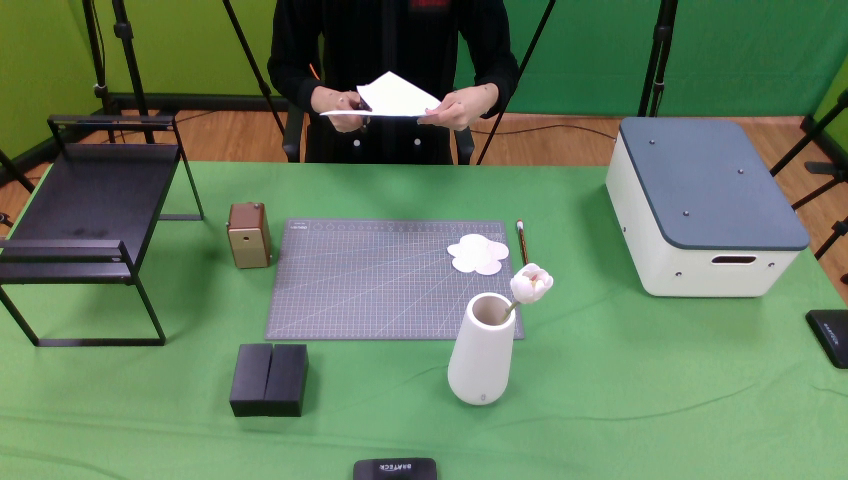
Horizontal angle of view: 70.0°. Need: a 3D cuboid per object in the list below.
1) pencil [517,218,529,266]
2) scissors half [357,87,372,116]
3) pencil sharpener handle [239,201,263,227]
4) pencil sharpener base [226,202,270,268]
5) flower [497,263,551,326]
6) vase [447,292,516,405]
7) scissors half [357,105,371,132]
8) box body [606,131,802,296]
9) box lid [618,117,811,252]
[{"bbox_3d":[0.200,0.028,1.196,0.012,0.012,0.193,1,48,-3],"label":"pencil"},{"bbox_3d":[-0.105,-0.240,1.068,0.013,0.040,0.174,-8,25,-10],"label":"scissors half"},{"bbox_3d":[-0.325,-0.056,1.149,0.036,0.068,0.030,-14,47,4],"label":"pencil sharpener handle"},{"bbox_3d":[-0.323,-0.010,1.124,0.061,0.107,0.076,-3,46,-7],"label":"pencil sharpener base"},{"bbox_3d":[0.102,0.120,0.853,0.044,0.363,0.038,-1,64,-10],"label":"flower"},{"bbox_3d":[0.091,0.168,0.921,0.098,0.201,0.097,3,47,-3],"label":"vase"},{"bbox_3d":[-0.105,-0.219,1.072,0.013,0.175,0.040,-3,91,-11],"label":"scissors half"},{"bbox_3d":[0.530,-0.067,1.204,0.254,0.161,0.361,0,46,-4],"label":"box body"},{"bbox_3d":[0.534,-0.117,1.149,0.263,0.015,0.369,0,47,-3],"label":"box lid"}]
